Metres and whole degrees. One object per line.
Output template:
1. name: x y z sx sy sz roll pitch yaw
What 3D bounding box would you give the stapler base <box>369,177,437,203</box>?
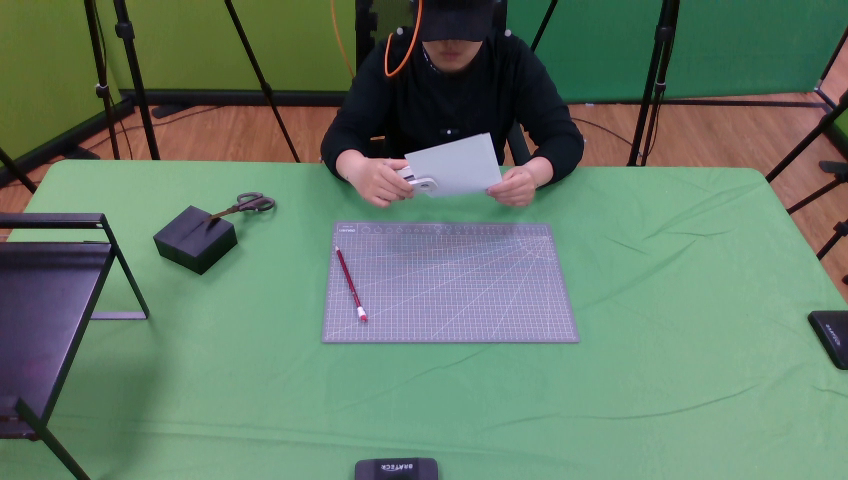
1. stapler base: -0.040 -0.101 1.153 0.130 0.041 0.024 -13 64 21

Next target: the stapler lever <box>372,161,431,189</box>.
1. stapler lever: -0.042 -0.121 1.161 0.118 0.027 0.040 -9 65 23

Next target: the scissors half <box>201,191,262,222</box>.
1. scissors half: -0.381 -0.066 1.198 0.040 0.013 0.175 24 28 10

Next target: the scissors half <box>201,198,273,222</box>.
1. scissors half: -0.365 -0.056 1.192 0.040 0.013 0.175 38 32 22

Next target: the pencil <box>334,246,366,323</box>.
1. pencil: -0.140 0.077 1.116 0.012 0.012 0.192 -14 48 -17
